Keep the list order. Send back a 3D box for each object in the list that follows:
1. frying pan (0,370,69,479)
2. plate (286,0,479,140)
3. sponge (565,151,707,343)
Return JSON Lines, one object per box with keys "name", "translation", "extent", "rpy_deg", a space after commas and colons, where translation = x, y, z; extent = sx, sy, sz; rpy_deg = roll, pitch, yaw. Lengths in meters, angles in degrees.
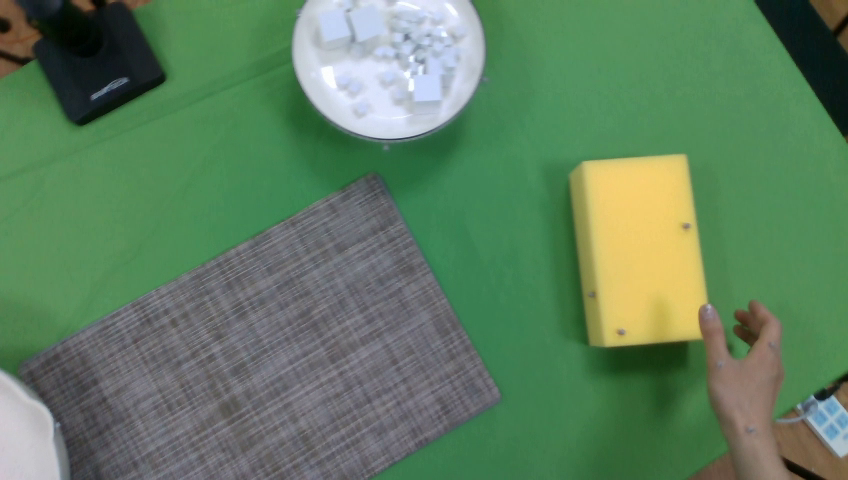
{"name": "frying pan", "translation": [-0.449, 0.341, 0.594], "extent": [0.307, 0.103, 0.485], "rpy_deg": [-31, 77, -4]}
{"name": "plate", "translation": [-0.044, -0.206, 0.666], "extent": [0.208, 0.039, 0.207], "rpy_deg": [1, 82, -4]}
{"name": "sponge", "translation": [0.236, 0.010, 0.687], "extent": [0.118, 0.061, 0.206], "rpy_deg": [-6, 83, -3]}
